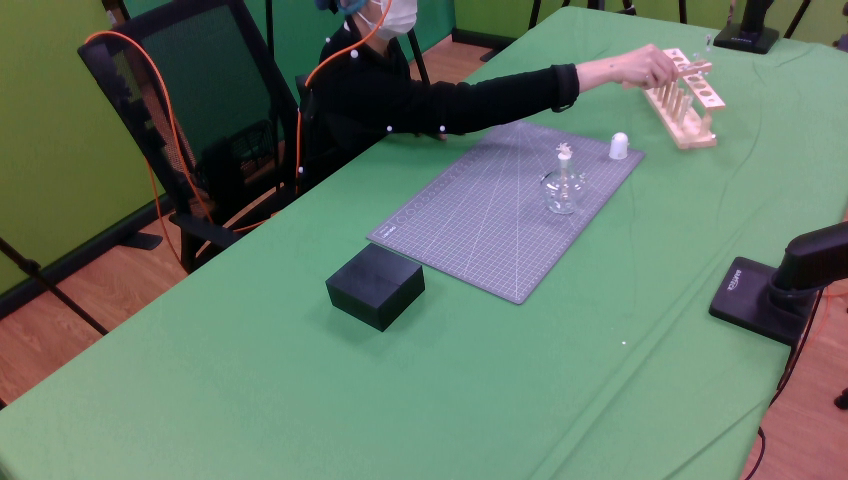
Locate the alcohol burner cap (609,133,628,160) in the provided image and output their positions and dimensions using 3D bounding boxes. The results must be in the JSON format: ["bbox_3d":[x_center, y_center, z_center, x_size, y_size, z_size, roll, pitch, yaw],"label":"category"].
[{"bbox_3d":[0.356,-0.172,1.101,0.034,0.048,0.033,-5,41,5],"label":"alcohol burner cap"}]

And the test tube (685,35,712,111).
[{"bbox_3d":[0.508,-0.308,1.130,0.017,0.151,0.017,-1,43,1],"label":"test tube"}]

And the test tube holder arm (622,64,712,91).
[{"bbox_3d":[0.444,-0.298,1.103,0.179,0.015,0.013,-15,42,-11],"label":"test tube holder arm"}]

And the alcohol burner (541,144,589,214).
[{"bbox_3d":[0.229,-0.102,0.983,0.078,0.119,0.077,-6,41,5],"label":"alcohol burner"}]

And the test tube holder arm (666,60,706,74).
[{"bbox_3d":[0.484,-0.314,1.118,0.088,0.015,0.010,-21,43,-17],"label":"test tube holder arm"}]

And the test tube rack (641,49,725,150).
[{"bbox_3d":[0.495,-0.279,1.175,0.067,0.085,0.241,-5,41,3],"label":"test tube rack"}]
